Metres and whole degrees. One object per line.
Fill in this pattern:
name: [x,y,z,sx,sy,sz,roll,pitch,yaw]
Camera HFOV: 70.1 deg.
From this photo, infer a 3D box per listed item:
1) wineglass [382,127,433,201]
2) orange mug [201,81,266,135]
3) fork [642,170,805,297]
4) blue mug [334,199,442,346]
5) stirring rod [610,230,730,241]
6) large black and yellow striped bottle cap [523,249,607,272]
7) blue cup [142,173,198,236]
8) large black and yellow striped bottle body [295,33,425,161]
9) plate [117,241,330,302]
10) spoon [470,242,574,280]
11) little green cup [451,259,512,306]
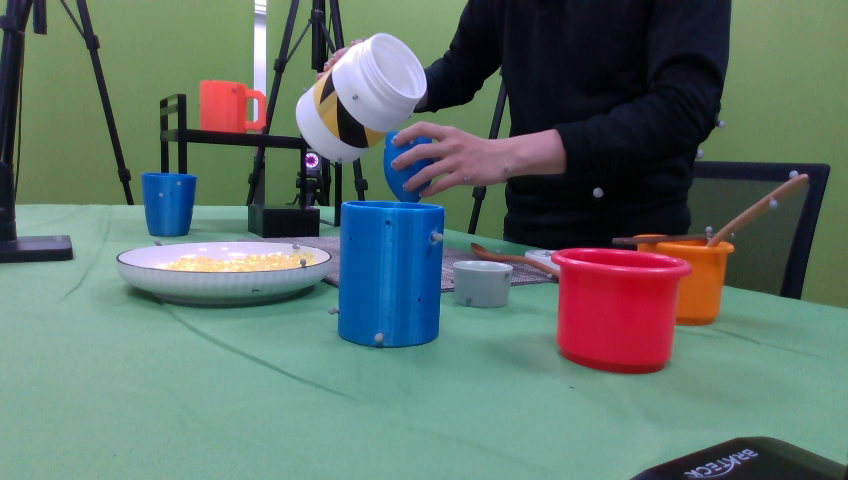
wineglass: [-0.022,-0.066,0.840,0.074,0.172,0.073,-1,3,0]
orange mug: [-0.377,-0.260,1.197,0.126,0.101,0.083,-2,7,-6]
fork: [0.261,0.004,0.545,0.028,0.018,0.207,5,-37,-15]
blue mug: [-0.034,0.020,0.498,0.083,0.106,0.116,0,7,-20]
stirring rod: [0.241,-0.005,0.581,0.177,0.006,0.014,-3,9,-34]
large black and yellow striped bottle cap: [0.198,0.028,0.851,0.115,0.019,0.115,5,5,0]
blue cup: [-0.425,-0.060,1.014,0.093,0.100,0.092,4,9,0]
large black and yellow striped bottle body: [-0.098,-0.218,0.932,0.183,0.130,0.131,-31,-16,39]
plate: [-0.203,0.031,0.630,0.209,0.038,0.209,3,7,0]
spoon: [0.124,0.025,0.800,0.042,0.021,0.192,23,-6,-34]
little green cup: [0.057,0.043,0.611,0.061,0.038,0.061,3,8,0]
